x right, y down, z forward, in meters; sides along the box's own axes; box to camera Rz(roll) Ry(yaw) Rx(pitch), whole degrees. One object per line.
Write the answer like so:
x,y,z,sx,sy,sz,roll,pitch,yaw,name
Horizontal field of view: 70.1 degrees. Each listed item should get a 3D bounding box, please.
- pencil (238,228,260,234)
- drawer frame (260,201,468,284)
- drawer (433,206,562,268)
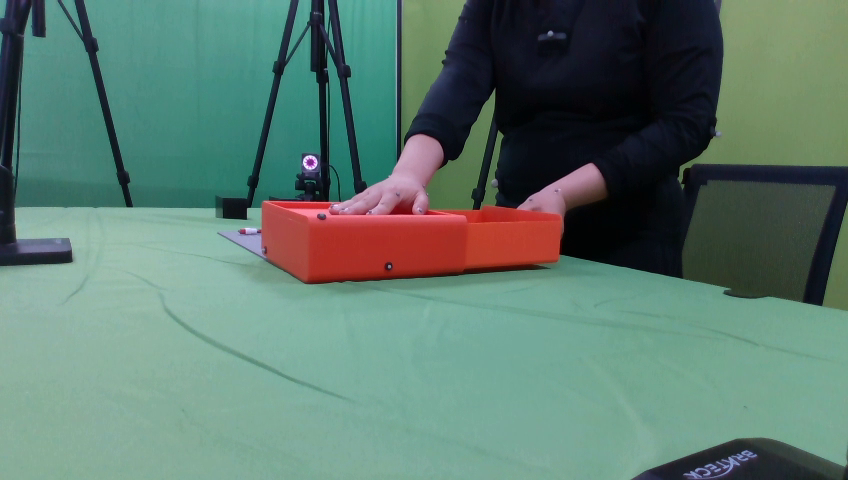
-0.241,-0.015,1.106,0.195,0.012,0.012,1,7,-30,pencil
-0.083,-0.005,0.794,0.215,0.082,0.200,-2,10,-30,drawer frame
0.057,-0.009,0.878,0.213,0.073,0.193,-3,9,-30,drawer
